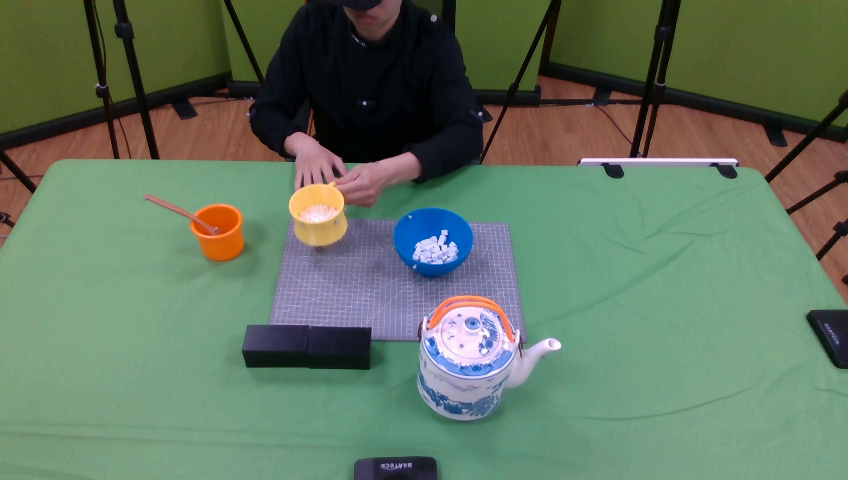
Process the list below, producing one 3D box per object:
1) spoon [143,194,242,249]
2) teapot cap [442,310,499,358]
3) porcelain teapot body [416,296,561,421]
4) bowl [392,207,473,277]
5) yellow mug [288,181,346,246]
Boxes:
[{"bbox_3d":[-0.421,-0.036,1.112,0.021,0.195,0.041,-35,38,24],"label":"spoon"},{"bbox_3d":[0.068,0.133,0.880,0.085,0.044,0.084,4,46,-4],"label":"teapot cap"},{"bbox_3d":[0.094,0.164,0.907,0.205,0.226,0.144,6,45,1],"label":"porcelain teapot body"},{"bbox_3d":[0.014,0.016,1.140,0.151,0.077,0.150,2,46,-2],"label":"bowl"},{"bbox_3d":[-0.191,-0.059,1.127,0.100,0.064,0.130,15,50,11],"label":"yellow mug"}]
